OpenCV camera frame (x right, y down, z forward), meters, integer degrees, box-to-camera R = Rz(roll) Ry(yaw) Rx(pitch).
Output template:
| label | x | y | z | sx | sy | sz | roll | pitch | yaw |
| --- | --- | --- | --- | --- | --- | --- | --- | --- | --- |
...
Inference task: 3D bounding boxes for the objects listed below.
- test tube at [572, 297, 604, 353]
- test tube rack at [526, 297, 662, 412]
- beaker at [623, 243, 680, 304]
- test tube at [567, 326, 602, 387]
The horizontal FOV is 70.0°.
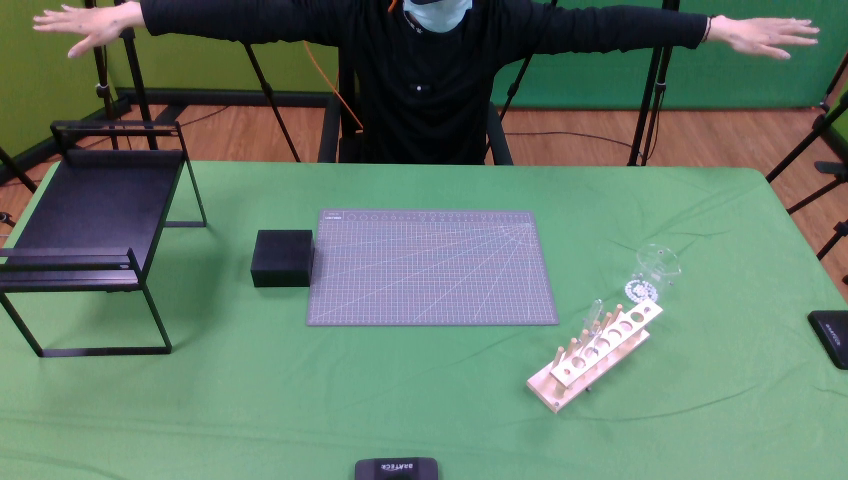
| label | x | y | z | sx | sy | sz | roll | pitch | yaw |
| --- | --- | --- | --- | --- | --- | --- | --- | --- | --- |
| test tube | 0.263 | 0.141 | 0.977 | 0.017 | 0.151 | 0.017 | 2 | 47 | -2 |
| test tube rack | 0.284 | 0.176 | 1.007 | 0.242 | 0.085 | 0.066 | -29 | 54 | -27 |
| beaker | 0.414 | 0.067 | 1.111 | 0.083 | 0.101 | 0.074 | 31 | 52 | 22 |
| test tube | 0.243 | 0.182 | 0.930 | 0.017 | 0.151 | 0.017 | 5 | 45 | -5 |
